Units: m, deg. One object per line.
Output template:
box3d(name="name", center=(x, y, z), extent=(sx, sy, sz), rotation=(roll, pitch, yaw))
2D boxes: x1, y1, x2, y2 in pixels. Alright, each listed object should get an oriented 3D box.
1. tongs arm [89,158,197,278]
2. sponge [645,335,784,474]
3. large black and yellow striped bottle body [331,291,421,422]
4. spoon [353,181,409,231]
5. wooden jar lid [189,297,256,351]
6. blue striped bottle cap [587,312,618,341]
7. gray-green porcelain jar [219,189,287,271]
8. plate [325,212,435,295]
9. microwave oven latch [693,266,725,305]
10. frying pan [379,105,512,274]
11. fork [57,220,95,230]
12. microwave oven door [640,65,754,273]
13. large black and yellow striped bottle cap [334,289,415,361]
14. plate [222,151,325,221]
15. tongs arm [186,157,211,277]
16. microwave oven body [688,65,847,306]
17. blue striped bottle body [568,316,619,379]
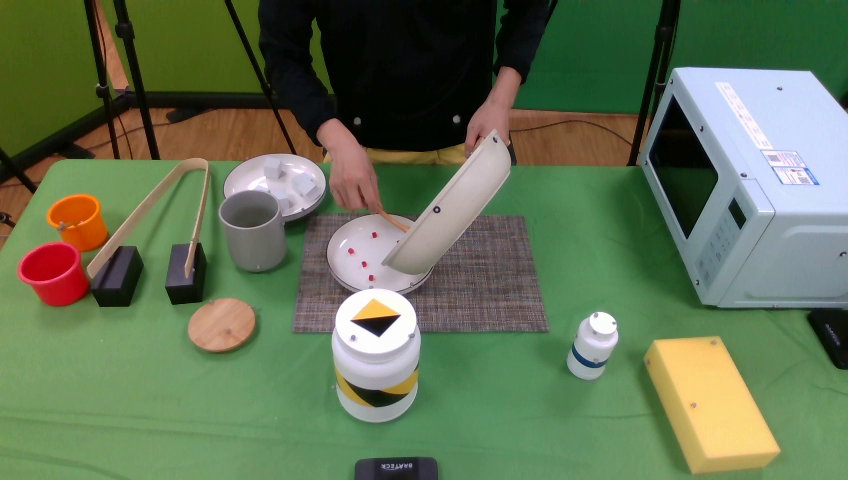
box3d(name="tongs arm", center=(-0.530, -0.057, 1.163), extent=(0.028, 0.028, 0.385), rotation=(1, 36, 7))
box3d(name="sponge", center=(0.449, 0.253, 0.956), extent=(0.118, 0.061, 0.205), rotation=(-4, 46, -7))
box3d(name="large black and yellow striped bottle body", center=(-0.071, 0.175, 0.911), extent=(0.131, 0.185, 0.130), rotation=(2, 47, -2))
box3d(name="spoon", center=(-0.055, -0.040, 1.068), extent=(0.193, 0.022, 0.041), rotation=(39, 58, 12))
box3d(name="wooden jar lid", center=(-0.342, 0.145, 1.033), extent=(0.108, 0.021, 0.107), rotation=(2, 45, -2))
box3d(name="blue striped bottle cap", center=(0.279, 0.134, 0.947), extent=(0.044, 0.021, 0.044), rotation=(2, 45, -2))
box3d(name="gray-green porcelain jar", center=(-0.310, -0.014, 1.113), extent=(0.106, 0.127, 0.105), rotation=(2, 46, -2))
box3d(name="plate", center=(-0.080, 0.030, 1.143), extent=(0.209, 0.038, 0.208), rotation=(2, 46, -2))
box3d(name="microwave oven latch", center=(0.523, 0.082, 1.115), extent=(0.030, 0.029, 0.078), rotation=(3, 46, 0))
box3d(name="frying pan", center=(0.077, -0.120, 1.071), extent=(0.103, 0.307, 0.486), rotation=(35, 45, -8))
box3d(name="fork", center=(-0.624, -0.027, 1.086), extent=(0.028, 0.207, 0.018), rotation=(-2, 91, -17))
box3d(name="microwave oven door", center=(0.523, -0.147, 1.193), extent=(0.039, 0.245, 0.353), rotation=(0, 47, -3))
box3d(name="large black and yellow striped bottle cap", center=(-0.069, 0.117, 0.850), extent=(0.115, 0.019, 0.114), rotation=(2, 45, -2))
box3d(name="plate", center=(-0.310, -0.106, 1.263), extent=(0.208, 0.039, 0.206), rotation=(2, 47, -2))
box3d(name="tongs arm", center=(-0.446, -0.057, 1.168), extent=(0.051, 0.026, 0.382), rotation=(-5, 37, -6))
box3d(name="microwave oven body", center=(0.669, -0.111, 1.176), extent=(0.326, 0.261, 0.439), rotation=(0, 46, -3))
box3d(name="blue striped bottle body", center=(0.277, 0.168, 0.984), extent=(0.063, 0.121, 0.062), rotation=(2, 46, -2))
